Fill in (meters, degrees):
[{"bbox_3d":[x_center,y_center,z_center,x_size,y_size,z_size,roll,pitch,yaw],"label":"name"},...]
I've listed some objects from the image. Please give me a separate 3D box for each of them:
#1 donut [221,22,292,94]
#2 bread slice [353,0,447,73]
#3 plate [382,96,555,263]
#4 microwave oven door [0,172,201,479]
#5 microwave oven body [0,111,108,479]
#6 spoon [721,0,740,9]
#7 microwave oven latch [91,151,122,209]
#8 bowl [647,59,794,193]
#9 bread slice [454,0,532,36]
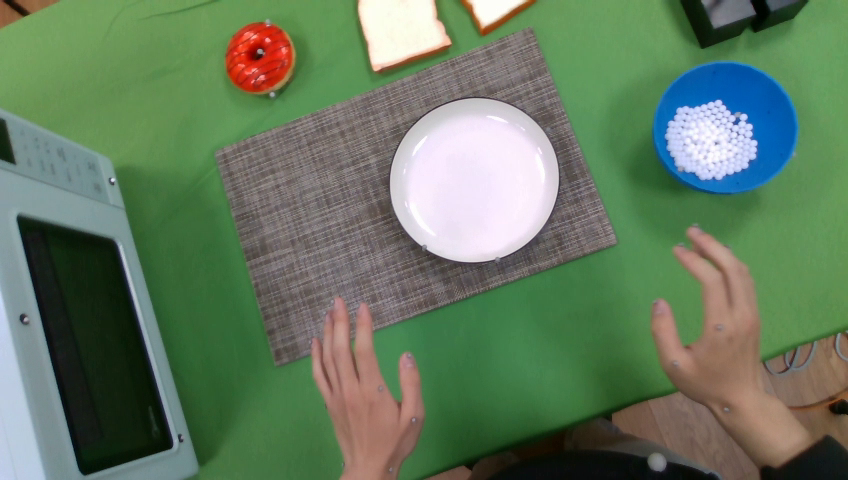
[{"bbox_3d":[-0.224,-0.242,0.809,0.099,0.048,0.098,-1,82,11],"label":"donut"},{"bbox_3d":[-0.041,-0.294,0.804,0.107,0.018,0.133,-21,80,4],"label":"bread slice"},{"bbox_3d":[0.054,-0.072,0.744,0.207,0.039,0.207,-1,82,8],"label":"plate"},{"bbox_3d":[-0.368,0.109,0.661,0.039,0.245,0.354,-23,79,5],"label":"microwave oven door"},{"bbox_3d":[-0.517,0.127,0.684,0.326,0.261,0.439,-22,80,4],"label":"microwave oven body"},{"bbox_3d":[0.342,-0.310,0.661,0.021,0.195,0.041,-20,77,19],"label":"spoon"},{"bbox_3d":[-0.428,-0.075,0.799,0.030,0.029,0.079,-22,80,4],"label":"microwave oven latch"},{"bbox_3d":[0.327,-0.120,0.695,0.151,0.077,0.151,-1,81,8],"label":"bowl"},{"bbox_3d":[0.078,-0.347,0.795,0.105,0.019,0.131,-34,80,1],"label":"bread slice"}]
